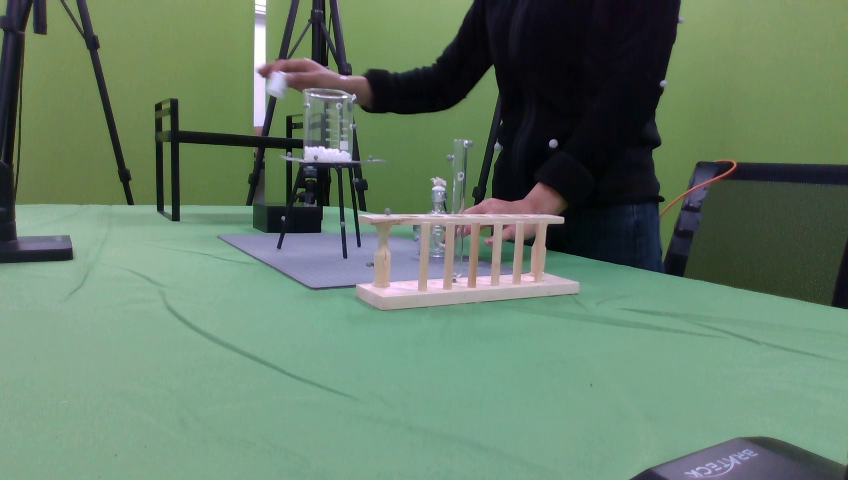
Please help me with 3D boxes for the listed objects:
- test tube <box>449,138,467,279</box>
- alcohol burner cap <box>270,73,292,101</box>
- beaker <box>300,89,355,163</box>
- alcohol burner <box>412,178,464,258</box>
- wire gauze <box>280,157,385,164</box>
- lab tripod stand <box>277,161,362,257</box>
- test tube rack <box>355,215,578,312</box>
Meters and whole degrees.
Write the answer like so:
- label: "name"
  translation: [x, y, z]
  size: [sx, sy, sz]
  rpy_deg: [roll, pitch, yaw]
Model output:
- label: "test tube"
  translation: [0.035, -0.033, 0.645]
  size: [0.017, 0.150, 0.017]
  rpy_deg: [2, 4, 0]
- label: "alcohol burner cap"
  translation: [-0.262, -0.286, 1.119]
  size: [0.034, 0.048, 0.034]
  rpy_deg: [18, -10, 4]
- label: "beaker"
  translation: [-0.136, -0.161, 0.867]
  size: [0.083, 0.100, 0.074]
  rpy_deg: [5, 8, 24]
- label: "alcohol burner"
  translation: [0.021, -0.033, 0.900]
  size: [0.078, 0.119, 0.078]
  rpy_deg: [2, 5, 0]
- label: "wire gauze"
  translation: [-0.134, -0.113, 0.875]
  size: [0.122, 0.011, 0.124]
  rpy_deg: [-1, 6, -30]
- label: "lab tripod stand"
  translation: [-0.142, -0.049, 0.884]
  size: [0.148, 0.131, 0.148]
  rpy_deg: [1, 9, 0]
- label: "test tube rack"
  translation: [0.053, 0.018, 0.641]
  size: [0.243, 0.085, 0.066]
  rpy_deg: [-1, 8, -29]
